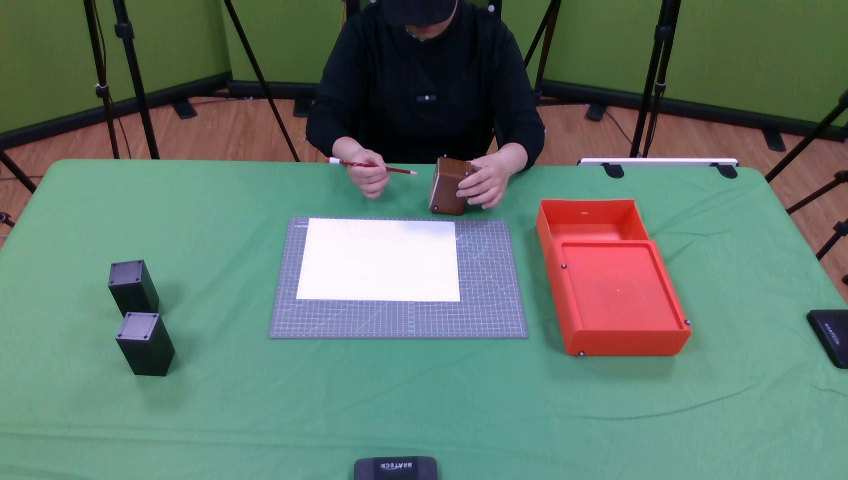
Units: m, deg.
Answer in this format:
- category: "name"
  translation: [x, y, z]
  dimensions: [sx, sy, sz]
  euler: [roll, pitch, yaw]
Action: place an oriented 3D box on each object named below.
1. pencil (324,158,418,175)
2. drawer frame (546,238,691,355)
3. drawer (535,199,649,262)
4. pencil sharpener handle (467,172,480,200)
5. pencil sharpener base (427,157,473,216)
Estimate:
- category: "pencil"
  translation: [-0.108, -0.147, 1.220]
  dimensions: [0.194, 0.012, 0.012]
  euler: [9, 46, 5]
- category: "drawer frame"
  translation: [0.338, 0.097, 1.086]
  dimensions: [0.202, 0.083, 0.212]
  euler: [0, 46, -4]
- category: "drawer"
  translation: [0.332, 0.015, 1.169]
  dimensions: [0.195, 0.073, 0.210]
  euler: [0, 46, -5]
- category: "pencil sharpener handle"
  translation: [0.106, -0.109, 1.243]
  dimensions: [0.031, 0.068, 0.036]
  euler: [9, 49, -7]
- category: "pencil sharpener base"
  translation: [0.054, -0.108, 1.244]
  dimensions: [0.077, 0.107, 0.061]
  euler: [9, 45, -7]
